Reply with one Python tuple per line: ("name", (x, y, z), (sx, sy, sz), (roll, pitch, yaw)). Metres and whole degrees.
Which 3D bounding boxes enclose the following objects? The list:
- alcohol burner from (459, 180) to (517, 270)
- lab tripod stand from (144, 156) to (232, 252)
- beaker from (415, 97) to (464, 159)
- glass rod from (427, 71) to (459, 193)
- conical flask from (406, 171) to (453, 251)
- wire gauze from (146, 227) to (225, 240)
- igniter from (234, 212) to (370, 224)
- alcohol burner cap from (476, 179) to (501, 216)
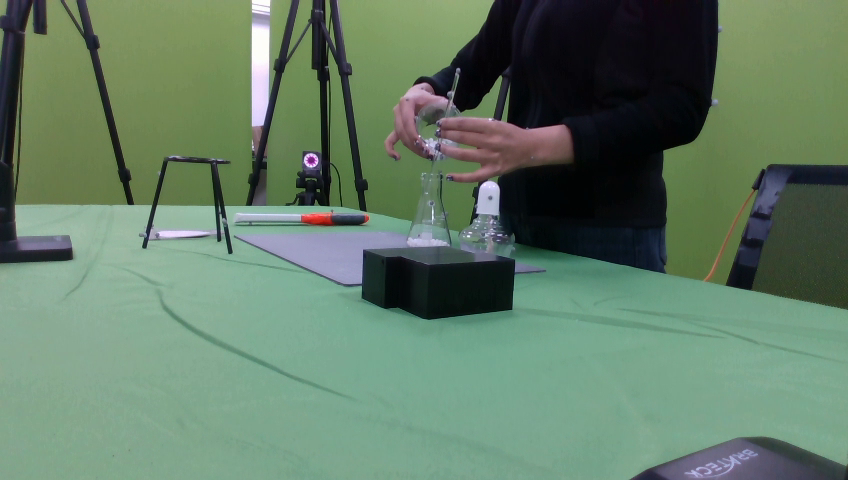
("alcohol burner", (0.086, -0.021, 0.805), (0.078, 0.119, 0.078), (3, 9, 0))
("lab tripod stand", (-0.325, -0.054, 0.881), (0.148, 0.131, 0.148), (4, 7, 0))
("beaker", (0.024, -0.171, 0.966), (0.074, 0.084, 0.100), (6, -6, 2))
("glass rod", (0.027, -0.154, 0.897), (0.008, 0.199, 0.008), (10, 33, -6))
("conical flask", (0.011, -0.046, 0.948), (0.075, 0.122, 0.075), (2, 7, 0))
("wire gauze", (-0.400, -0.012, 1.019), (0.122, 0.011, 0.124), (-1, 6, -26))
("igniter", (-0.247, -0.046, 1.253), (0.278, 0.025, 0.057), (-1, -3, -27))
("alcohol burner cap", (0.086, -0.057, 0.801), (0.034, 0.048, 0.034), (4, 3, 0))
